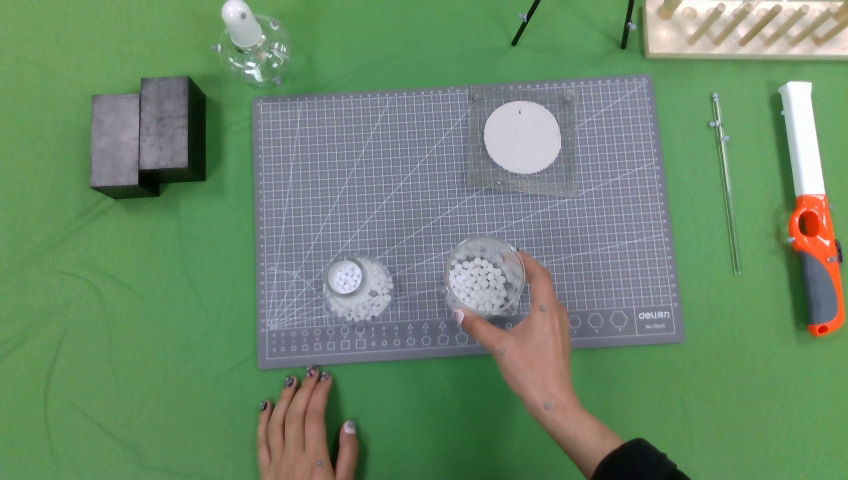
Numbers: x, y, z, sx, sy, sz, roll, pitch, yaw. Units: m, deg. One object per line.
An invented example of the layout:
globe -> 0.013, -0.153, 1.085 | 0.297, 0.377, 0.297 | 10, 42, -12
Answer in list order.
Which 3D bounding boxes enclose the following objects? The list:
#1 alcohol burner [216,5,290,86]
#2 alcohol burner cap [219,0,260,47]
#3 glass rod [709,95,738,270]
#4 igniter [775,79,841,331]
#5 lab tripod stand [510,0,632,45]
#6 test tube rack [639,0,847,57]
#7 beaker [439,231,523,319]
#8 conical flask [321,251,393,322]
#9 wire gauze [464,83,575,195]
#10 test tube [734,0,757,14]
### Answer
alcohol burner -> -0.184, -0.210, 0.633 | 0.078, 0.119, 0.077 | 0, 82, 2
alcohol burner cap -> -0.184, -0.218, 0.598 | 0.034, 0.048, 0.033 | 0, 74, 0
glass rod -> 0.329, -0.066, 0.667 | 0.008, 0.008, 0.199 | -3, 81, -1
igniter -> 0.415, -0.041, 0.655 | 0.057, 0.025, 0.275 | 0, 81, -10
lab tripod stand -> 0.163, -0.270, 0.635 | 0.148, 0.132, 0.148 | 0, 83, 0
test tube rack -> 0.370, -0.250, 0.657 | 0.242, 0.085, 0.066 | 0, 80, 0
beaker -> 0.055, 0.041, 0.599 | 0.074, 0.100, 0.083 | -36, 81, -8
conical flask -> -0.071, 0.041, 0.588 | 0.075, 0.122, 0.075 | 0, 81, 0
wire gauze -> 0.107, -0.114, 0.671 | 0.125, 0.011, 0.121 | 5, 81, -2
test tube -> 0.353, -0.272, 0.611 | 0.017, 0.151, 0.017 | 0, 80, 3
